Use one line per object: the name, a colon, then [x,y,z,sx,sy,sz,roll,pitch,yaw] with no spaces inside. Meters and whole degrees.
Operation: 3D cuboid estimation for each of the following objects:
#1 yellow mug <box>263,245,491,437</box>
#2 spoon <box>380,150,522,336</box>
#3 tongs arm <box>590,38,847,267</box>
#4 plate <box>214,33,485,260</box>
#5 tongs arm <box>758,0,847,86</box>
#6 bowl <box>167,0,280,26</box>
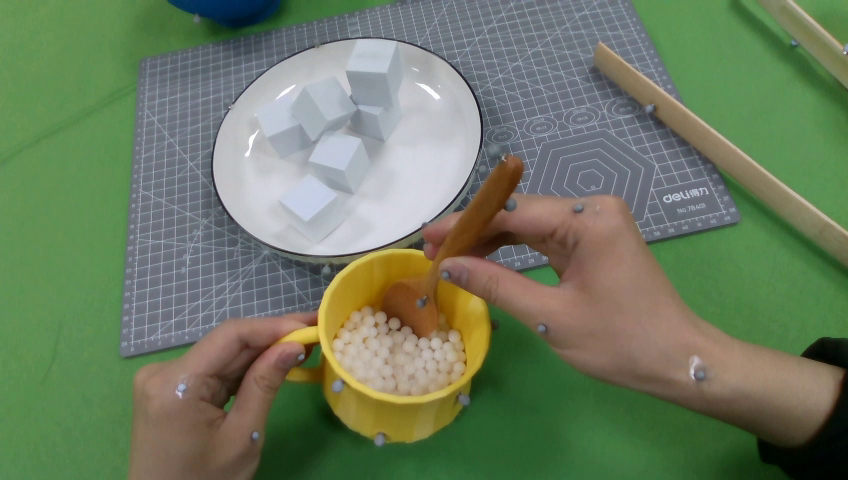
yellow mug: [-0.029,0.063,0.364,0.131,0.064,0.099,-7,56,-13]
spoon: [0.009,0.012,0.321,0.041,0.194,0.021,44,62,6]
tongs arm: [0.257,-0.029,0.414,0.028,0.028,0.384,-36,64,-15]
plate: [-0.055,-0.073,0.471,0.207,0.039,0.206,-3,62,6]
tongs arm: [0.327,-0.069,0.424,0.051,0.027,0.381,-25,63,-6]
bowl: [-0.183,-0.257,0.566,0.151,0.077,0.150,-3,62,7]
